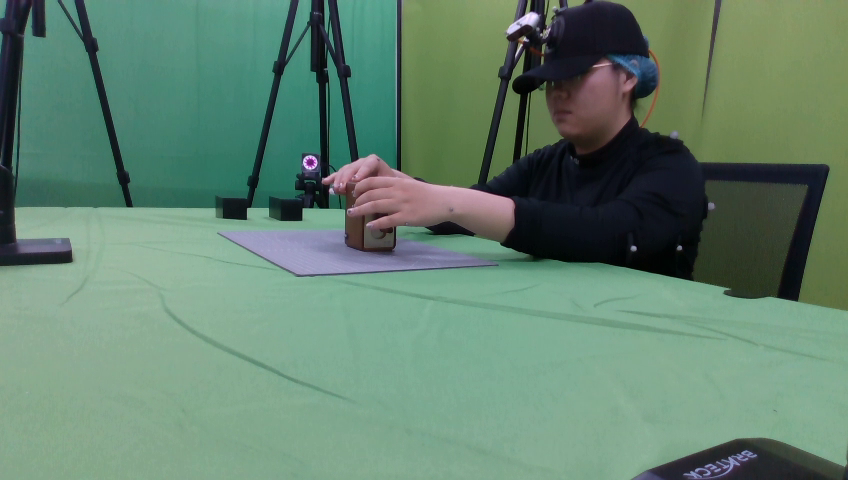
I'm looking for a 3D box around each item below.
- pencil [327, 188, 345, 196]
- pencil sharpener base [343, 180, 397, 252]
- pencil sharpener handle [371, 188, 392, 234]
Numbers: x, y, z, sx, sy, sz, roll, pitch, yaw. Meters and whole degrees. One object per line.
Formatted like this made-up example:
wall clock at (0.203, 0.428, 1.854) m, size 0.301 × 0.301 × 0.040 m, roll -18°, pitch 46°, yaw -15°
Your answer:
pencil at (-0.125, -0.076, 1.023) m, size 0.012 × 0.012 × 0.193 m, roll -1°, pitch 9°, yaw -31°
pencil sharpener base at (-0.085, -0.038, 0.957) m, size 0.062 × 0.107 × 0.076 m, roll -1°, pitch 9°, yaw -32°
pencil sharpener handle at (-0.059, -0.044, 0.913) m, size 0.036 × 0.067 × 0.030 m, roll 1°, pitch 7°, yaw -32°
